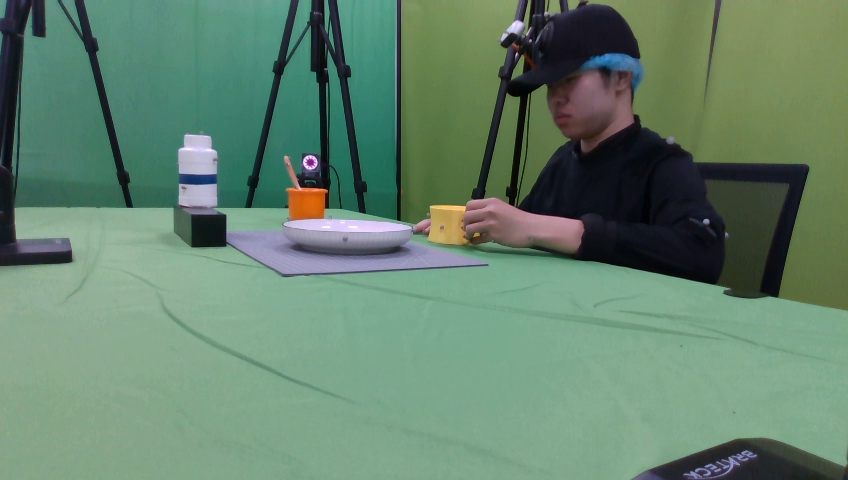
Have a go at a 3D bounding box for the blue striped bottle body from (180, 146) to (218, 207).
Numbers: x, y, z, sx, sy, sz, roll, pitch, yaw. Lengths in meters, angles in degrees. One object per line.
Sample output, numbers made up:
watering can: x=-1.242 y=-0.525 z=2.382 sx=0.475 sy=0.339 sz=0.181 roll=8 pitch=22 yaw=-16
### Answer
blue striped bottle body: x=-0.392 y=-0.119 z=1.053 sx=0.063 sy=0.120 sz=0.063 roll=2 pitch=8 yaw=0

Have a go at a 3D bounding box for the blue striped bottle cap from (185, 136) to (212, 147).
blue striped bottle cap: x=-0.390 y=-0.169 z=1.047 sx=0.044 sy=0.020 sz=0.044 roll=4 pitch=10 yaw=0

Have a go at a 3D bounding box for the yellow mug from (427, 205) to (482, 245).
yellow mug: x=0.062 y=-0.028 z=1.111 sx=0.100 sy=0.064 sz=0.130 roll=0 pitch=8 yaw=-20

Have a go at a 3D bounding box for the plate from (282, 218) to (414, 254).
plate: x=-0.121 y=-0.007 z=0.971 sx=0.208 sy=0.039 sz=0.207 roll=2 pitch=7 yaw=0

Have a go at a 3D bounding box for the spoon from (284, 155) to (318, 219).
spoon: x=-0.286 y=-0.122 z=1.367 sx=0.042 sy=0.021 sz=0.193 roll=-6 pitch=50 yaw=-36
